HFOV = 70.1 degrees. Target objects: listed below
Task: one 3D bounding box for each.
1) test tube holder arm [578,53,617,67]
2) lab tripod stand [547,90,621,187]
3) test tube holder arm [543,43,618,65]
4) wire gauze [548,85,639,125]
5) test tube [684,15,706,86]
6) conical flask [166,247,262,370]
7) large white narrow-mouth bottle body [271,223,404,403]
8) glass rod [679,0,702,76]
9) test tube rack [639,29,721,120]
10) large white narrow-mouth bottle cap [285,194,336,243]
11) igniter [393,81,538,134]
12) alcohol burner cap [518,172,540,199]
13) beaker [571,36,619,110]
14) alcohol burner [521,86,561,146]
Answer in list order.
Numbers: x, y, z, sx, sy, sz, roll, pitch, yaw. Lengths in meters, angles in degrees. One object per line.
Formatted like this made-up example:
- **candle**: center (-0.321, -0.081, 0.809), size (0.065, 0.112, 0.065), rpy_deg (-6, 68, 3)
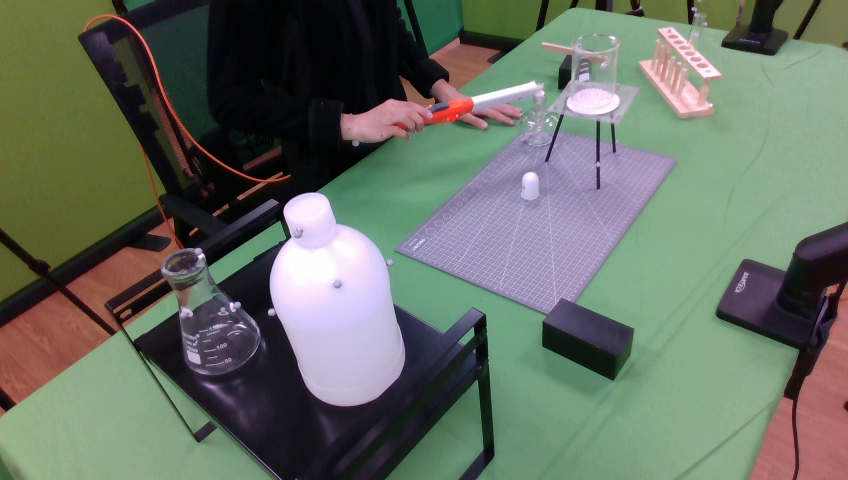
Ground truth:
- **test tube holder arm**: center (0.376, -0.393, 1.314), size (0.087, 0.015, 0.010), rpy_deg (25, 50, 32)
- **lab tripod stand**: center (0.289, -0.184, 1.062), size (0.148, 0.132, 0.147), rpy_deg (-6, 41, 6)
- **test tube holder arm**: center (0.344, -0.413, 1.340), size (0.177, 0.015, 0.013), rpy_deg (25, 49, 31)
- **wire gauze**: center (0.286, -0.233, 1.020), size (0.124, 0.011, 0.122), rpy_deg (15, 44, 30)
- **test tube**: center (0.540, -0.378, 1.215), size (0.017, 0.151, 0.017), rpy_deg (-2, 44, 3)
- **conical flask**: center (-0.209, 0.063, 0.584), size (0.075, 0.122, 0.075), rpy_deg (-5, 40, 4)
- **large white narrow-mouth bottle body**: center (-0.077, 0.048, 0.525), size (0.102, 0.195, 0.101), rpy_deg (-5, 40, 5)
- **glass rod**: center (0.543, -0.417, 1.233), size (0.008, 0.200, 0.008), rpy_deg (1, 39, 0)
- **test tube rack**: center (0.527, -0.351, 1.262), size (0.067, 0.085, 0.241), rpy_deg (-8, 40, 1)
- **large white narrow-mouth bottle cap**: center (-0.087, -0.017, 0.468), size (0.038, 0.024, 0.037), rpy_deg (-5, 40, 4)
- **igniter**: center (0.075, -0.236, 1.073), size (0.278, 0.057, 0.025), rpy_deg (-18, 71, -16)
- **alcohol burner cap**: center (0.184, -0.098, 1.049), size (0.034, 0.048, 0.033), rpy_deg (4, 52, -5)
- **beaker**: center (0.281, -0.273, 0.992), size (0.084, 0.101, 0.073), rpy_deg (-24, 42, -16)
- **alcohol burner**: center (0.223, -0.241, 1.155), size (0.078, 0.119, 0.077), rpy_deg (-5, 43, 5)
